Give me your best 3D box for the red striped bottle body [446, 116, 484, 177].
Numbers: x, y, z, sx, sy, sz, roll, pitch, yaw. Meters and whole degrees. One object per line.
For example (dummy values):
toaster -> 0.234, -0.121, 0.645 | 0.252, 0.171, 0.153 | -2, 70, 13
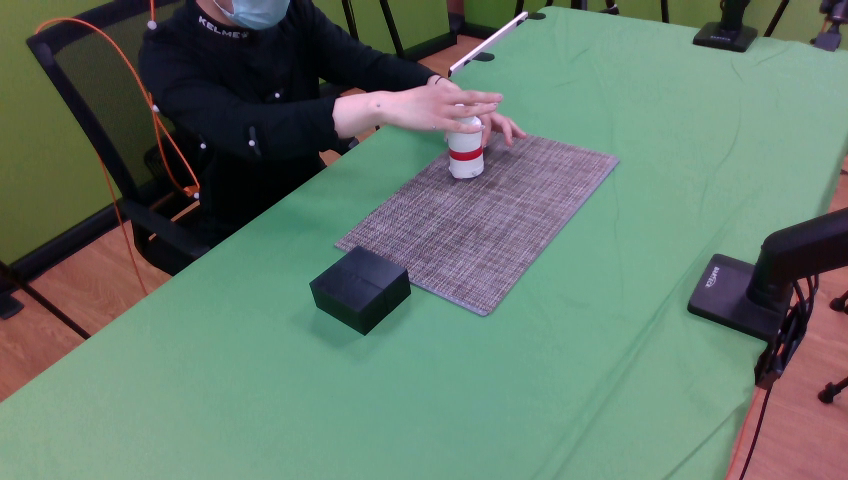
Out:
red striped bottle body -> 0.073, -0.177, 1.081 | 0.063, 0.120, 0.062 | -5, 38, 4

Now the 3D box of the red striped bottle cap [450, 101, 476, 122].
red striped bottle cap -> 0.066, -0.223, 1.045 | 0.044, 0.018, 0.044 | -7, 43, 7
